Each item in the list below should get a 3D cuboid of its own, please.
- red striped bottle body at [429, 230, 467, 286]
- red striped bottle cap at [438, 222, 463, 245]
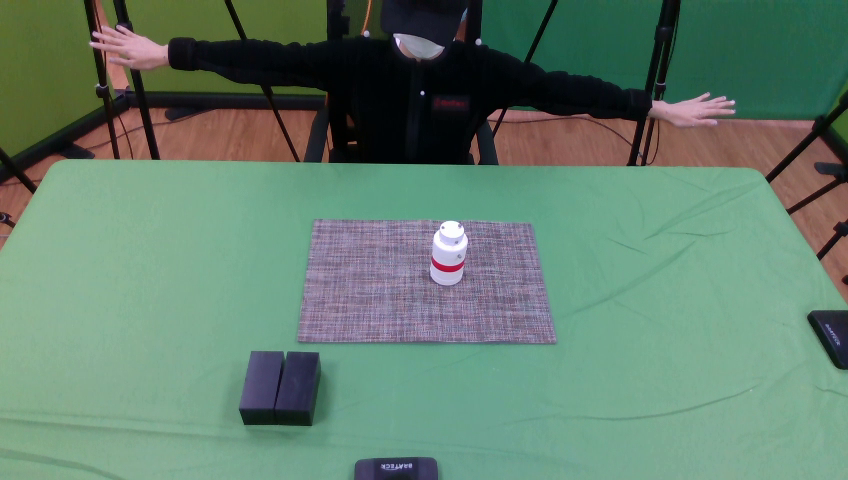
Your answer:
[{"bbox_3d":[0.044,0.024,1.105,0.063,0.120,0.062,3,45,-3],"label":"red striped bottle body"},{"bbox_3d":[0.047,-0.013,1.067,0.044,0.018,0.044,2,43,-1],"label":"red striped bottle cap"}]
